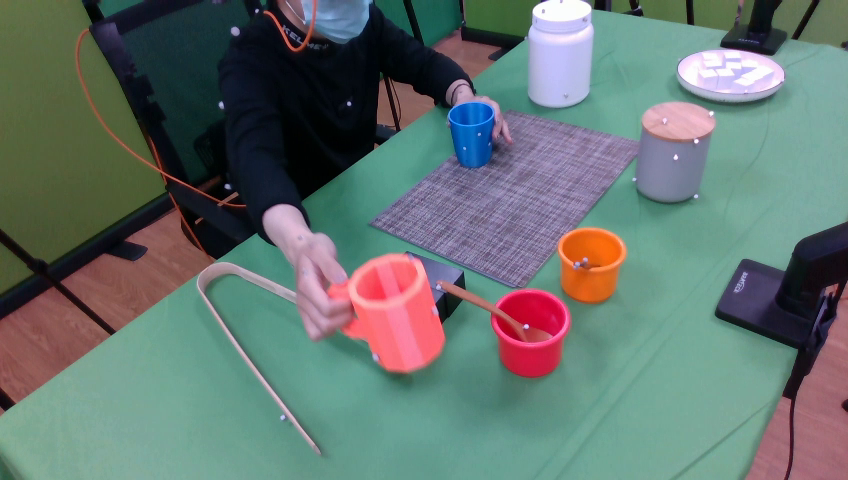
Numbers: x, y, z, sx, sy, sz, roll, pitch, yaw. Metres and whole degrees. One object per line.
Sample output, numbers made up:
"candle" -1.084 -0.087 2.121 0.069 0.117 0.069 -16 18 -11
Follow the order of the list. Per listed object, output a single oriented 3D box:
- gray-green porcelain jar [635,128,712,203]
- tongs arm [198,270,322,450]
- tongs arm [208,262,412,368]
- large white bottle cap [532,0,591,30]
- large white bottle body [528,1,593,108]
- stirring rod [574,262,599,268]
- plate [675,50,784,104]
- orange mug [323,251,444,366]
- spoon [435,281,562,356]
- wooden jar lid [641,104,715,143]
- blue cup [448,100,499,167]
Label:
"gray-green porcelain jar" 0.405 -0.133 0.992 0.106 0.127 0.105 -4 40 4
"tongs arm" -0.236 0.150 0.829 0.028 0.028 0.384 -35 46 -19
"tongs arm" -0.179 0.105 0.870 0.381 0.026 0.051 24 52 32
"large white bottle cap" 0.274 -0.449 1.204 0.115 0.018 0.114 -4 41 4
"large white bottle body" 0.283 -0.386 1.259 0.130 0.185 0.130 -5 41 5
"stirring rod" 0.221 0.033 0.816 0.014 0.006 0.177 9 1 22
"plate" 0.632 -0.336 1.262 0.207 0.039 0.206 -4 41 4
"orange mug" -0.048 0.074 0.674 0.125 0.101 0.083 3 38 19
"spoon" 0.096 0.096 0.757 0.195 0.021 0.041 33 30 -19
"wooden jar lid" 0.398 -0.180 0.952 0.108 0.021 0.108 -4 43 4
"blue cup" 0.091 -0.193 1.121 0.092 0.100 0.092 -4 43 4
